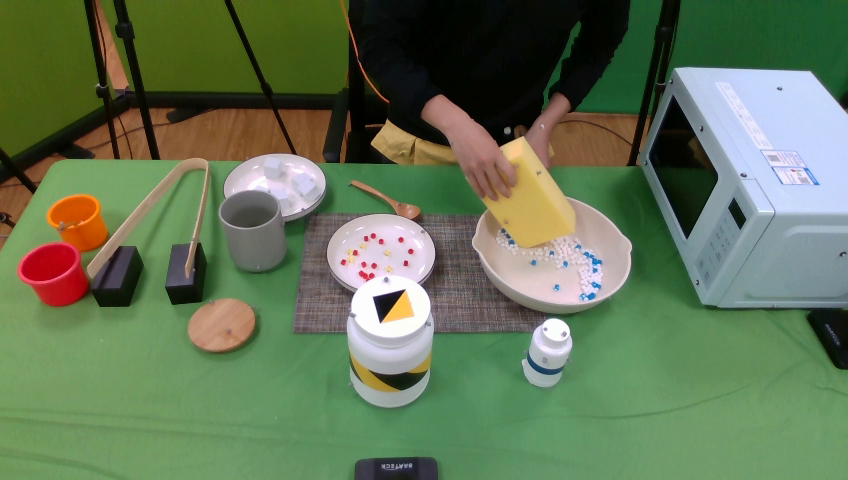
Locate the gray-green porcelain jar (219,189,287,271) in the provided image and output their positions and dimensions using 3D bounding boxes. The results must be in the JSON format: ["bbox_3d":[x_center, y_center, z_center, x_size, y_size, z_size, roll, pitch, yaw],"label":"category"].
[{"bbox_3d":[-0.310,-0.014,1.113,0.106,0.127,0.105,2,46,-2],"label":"gray-green porcelain jar"}]

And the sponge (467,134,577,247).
[{"bbox_3d":[0.189,-0.087,1.144,0.118,0.208,0.060,-22,35,32],"label":"sponge"}]

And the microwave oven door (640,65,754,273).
[{"bbox_3d":[0.523,-0.147,1.193,0.039,0.245,0.353,0,47,-3],"label":"microwave oven door"}]

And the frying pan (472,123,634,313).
[{"bbox_3d":[0.235,-0.060,1.207,0.307,0.103,0.484,1,55,-6],"label":"frying pan"}]

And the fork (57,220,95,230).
[{"bbox_3d":[-0.624,-0.027,1.087,0.028,0.207,0.018,-3,92,-17],"label":"fork"}]

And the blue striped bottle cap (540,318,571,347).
[{"bbox_3d":[0.203,0.142,0.933,0.044,0.021,0.044,3,49,-3],"label":"blue striped bottle cap"}]

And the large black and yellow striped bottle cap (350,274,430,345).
[{"bbox_3d":[-0.048,0.097,0.867,0.115,0.019,0.114,3,48,-3],"label":"large black and yellow striped bottle cap"}]

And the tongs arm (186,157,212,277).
[{"bbox_3d":[-0.445,-0.058,1.168,0.051,0.026,0.382,-5,37,-6],"label":"tongs arm"}]

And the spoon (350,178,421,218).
[{"bbox_3d":[-0.084,-0.092,1.272,0.193,0.022,0.041,31,69,25],"label":"spoon"}]

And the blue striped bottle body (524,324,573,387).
[{"bbox_3d":[0.200,0.178,0.970,0.063,0.121,0.062,2,46,-1],"label":"blue striped bottle body"}]

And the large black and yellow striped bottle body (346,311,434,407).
[{"bbox_3d":[-0.052,0.157,0.929,0.131,0.185,0.130,2,47,-2],"label":"large black and yellow striped bottle body"}]

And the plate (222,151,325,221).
[{"bbox_3d":[-0.310,-0.106,1.262,0.208,0.039,0.206,2,47,-2],"label":"plate"}]

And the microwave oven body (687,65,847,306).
[{"bbox_3d":[0.669,-0.111,1.176,0.326,0.261,0.439,0,46,-3],"label":"microwave oven body"}]

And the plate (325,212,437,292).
[{"bbox_3d":[-0.080,0.030,1.143,0.209,0.038,0.208,3,46,-3],"label":"plate"}]

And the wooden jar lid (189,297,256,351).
[{"bbox_3d":[-0.342,0.145,1.033,0.108,0.021,0.107,2,45,-2],"label":"wooden jar lid"}]

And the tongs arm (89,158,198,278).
[{"bbox_3d":[-0.529,-0.057,1.164,0.028,0.028,0.385,1,36,8],"label":"tongs arm"}]

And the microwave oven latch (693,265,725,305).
[{"bbox_3d":[0.523,0.082,1.116,0.030,0.029,0.078,2,46,-1],"label":"microwave oven latch"}]
